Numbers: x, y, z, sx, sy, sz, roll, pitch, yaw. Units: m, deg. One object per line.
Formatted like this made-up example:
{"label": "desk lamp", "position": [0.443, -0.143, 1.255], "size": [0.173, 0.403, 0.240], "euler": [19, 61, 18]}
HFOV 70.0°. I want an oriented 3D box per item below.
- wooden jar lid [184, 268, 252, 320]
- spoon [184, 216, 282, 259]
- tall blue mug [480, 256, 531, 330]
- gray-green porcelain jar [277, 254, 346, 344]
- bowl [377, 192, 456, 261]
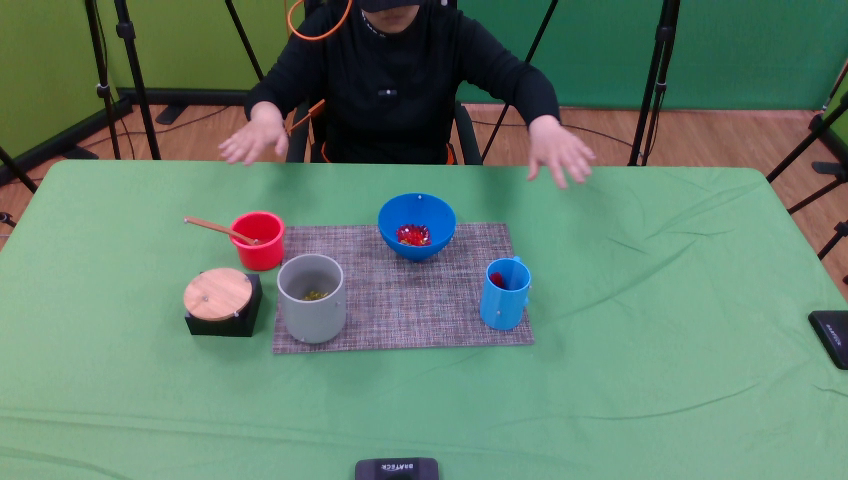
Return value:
{"label": "wooden jar lid", "position": [-0.343, 0.092, 1.015], "size": [0.108, 0.021, 0.107], "euler": [3, 46, -3]}
{"label": "spoon", "position": [-0.341, -0.008, 1.096], "size": [0.195, 0.021, 0.041], "euler": [29, 35, -41]}
{"label": "tall blue mug", "position": [0.140, 0.084, 1.061], "size": [0.078, 0.108, 0.106], "euler": [-2, 46, -4]}
{"label": "gray-green porcelain jar", "position": [-0.184, 0.102, 1.008], "size": [0.106, 0.127, 0.105], "euler": [2, 46, -2]}
{"label": "bowl", "position": [-0.015, -0.013, 1.166], "size": [0.151, 0.077, 0.150], "euler": [2, 46, -2]}
